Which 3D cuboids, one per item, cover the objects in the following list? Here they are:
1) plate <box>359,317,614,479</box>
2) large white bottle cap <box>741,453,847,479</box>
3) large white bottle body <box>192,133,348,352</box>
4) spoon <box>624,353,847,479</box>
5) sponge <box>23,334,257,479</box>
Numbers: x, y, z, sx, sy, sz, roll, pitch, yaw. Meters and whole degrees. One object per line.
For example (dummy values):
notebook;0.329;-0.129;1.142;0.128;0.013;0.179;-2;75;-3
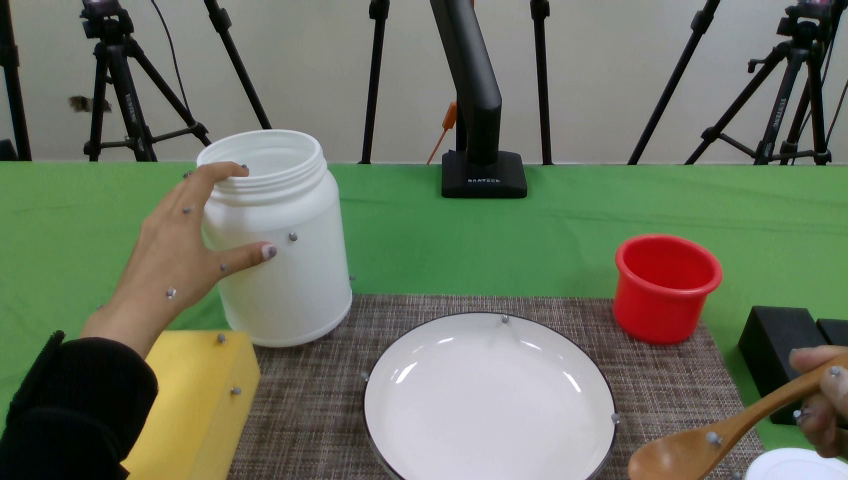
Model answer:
plate;0.051;0.146;0.510;0.209;0.038;0.207;0;34;0
large white bottle cap;0.288;0.207;0.440;0.115;0.018;0.114;2;35;-1
large white bottle body;-0.148;0.001;0.592;0.130;0.186;0.129;-1;33;1
spoon;0.187;0.088;0.317;0.022;0.194;0.041;40;31;-8
sponge;-0.217;0.164;0.469;0.118;0.061;0.205;-1;34;2
